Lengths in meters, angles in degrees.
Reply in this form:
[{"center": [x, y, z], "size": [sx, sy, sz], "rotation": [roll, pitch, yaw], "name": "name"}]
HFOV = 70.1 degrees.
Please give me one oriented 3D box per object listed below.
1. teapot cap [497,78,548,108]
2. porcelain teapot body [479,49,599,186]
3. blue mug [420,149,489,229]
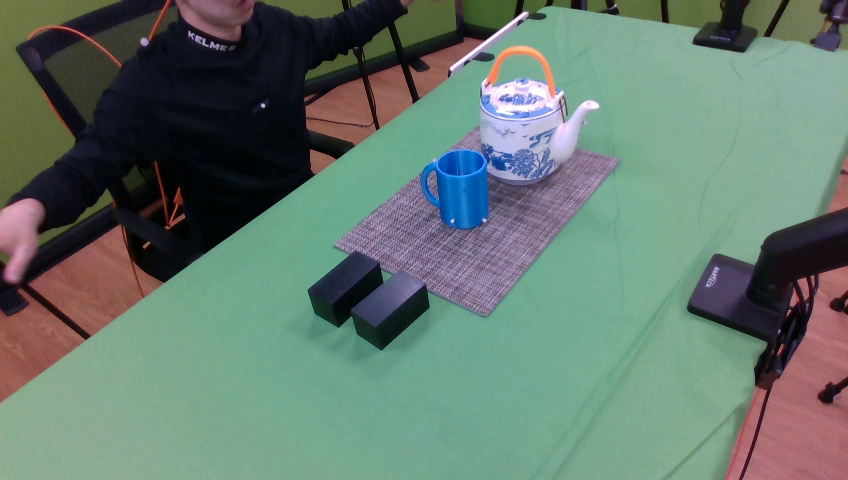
[{"center": [0.164, -0.246, 1.009], "size": [0.085, 0.044, 0.084], "rotation": [-4, 44, 4], "name": "teapot cap"}, {"center": [0.192, -0.208, 1.023], "size": [0.204, 0.226, 0.145], "rotation": [16, 46, 25], "name": "porcelain teapot body"}, {"center": [0.048, -0.085, 0.991], "size": [0.116, 0.106, 0.082], "rotation": [9, 43, 19], "name": "blue mug"}]
